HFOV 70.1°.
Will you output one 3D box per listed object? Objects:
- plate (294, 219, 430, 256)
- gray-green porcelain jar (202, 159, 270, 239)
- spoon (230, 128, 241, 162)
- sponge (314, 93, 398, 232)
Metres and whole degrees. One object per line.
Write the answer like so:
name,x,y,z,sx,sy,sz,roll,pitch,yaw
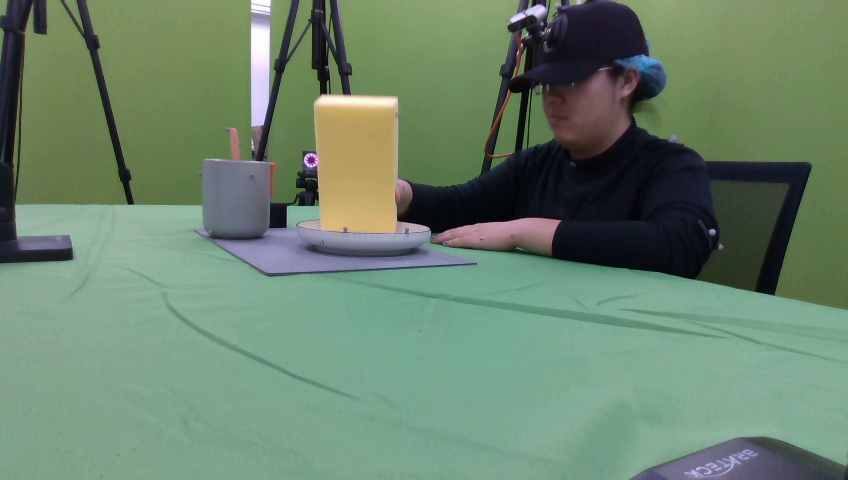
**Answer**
plate,-0.096,-0.005,0.936,0.208,0.039,0.207,3,7,0
gray-green porcelain jar,-0.310,-0.068,0.999,0.106,0.126,0.106,3,8,0
spoon,-0.314,-0.108,1.025,0.042,0.193,0.021,-5,-19,-16
sponge,-0.102,-0.117,0.934,0.118,0.207,0.061,3,25,1
